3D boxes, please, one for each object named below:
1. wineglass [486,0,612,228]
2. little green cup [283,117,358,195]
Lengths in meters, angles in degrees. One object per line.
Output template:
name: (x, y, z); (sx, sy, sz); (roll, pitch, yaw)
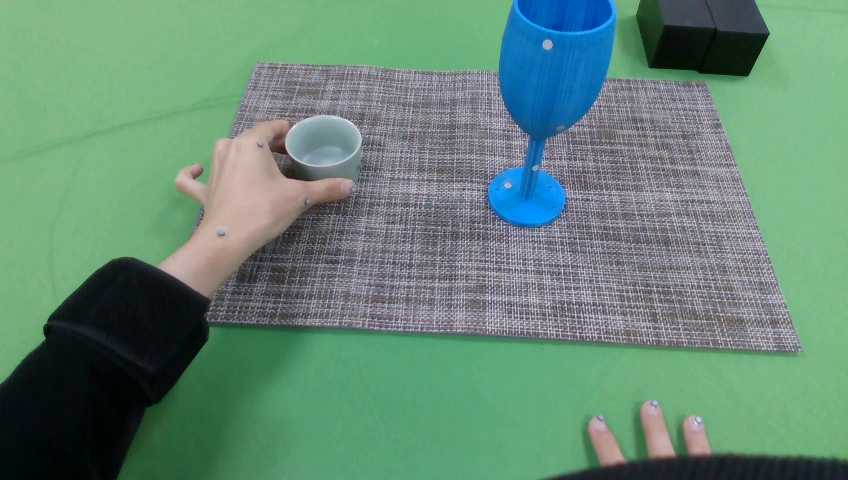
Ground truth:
wineglass: (0.083, -0.088, 0.437); (0.074, 0.174, 0.073); (0, 52, 0)
little green cup: (-0.084, -0.069, 0.503); (0.061, 0.039, 0.061); (0, 51, 0)
